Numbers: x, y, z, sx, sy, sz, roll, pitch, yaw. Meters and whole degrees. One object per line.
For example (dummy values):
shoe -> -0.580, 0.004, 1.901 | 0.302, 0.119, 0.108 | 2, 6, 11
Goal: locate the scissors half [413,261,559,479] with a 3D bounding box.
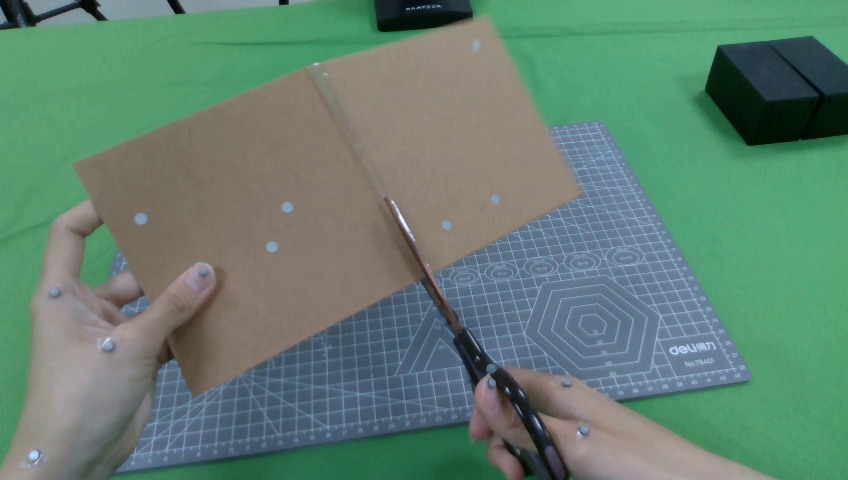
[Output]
scissors half -> 0.017, 0.047, 0.315 | 0.013, 0.040, 0.173 | -29, 55, -7

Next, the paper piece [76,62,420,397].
paper piece -> -0.088, -0.009, 0.322 | 0.136, 0.004, 0.135 | -27, 92, -13

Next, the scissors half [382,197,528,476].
scissors half -> 0.017, 0.054, 0.339 | 0.013, 0.040, 0.175 | -28, 96, -12

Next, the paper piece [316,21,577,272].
paper piece -> 0.021, -0.065, 0.371 | 0.138, 0.008, 0.136 | -26, 90, -34
